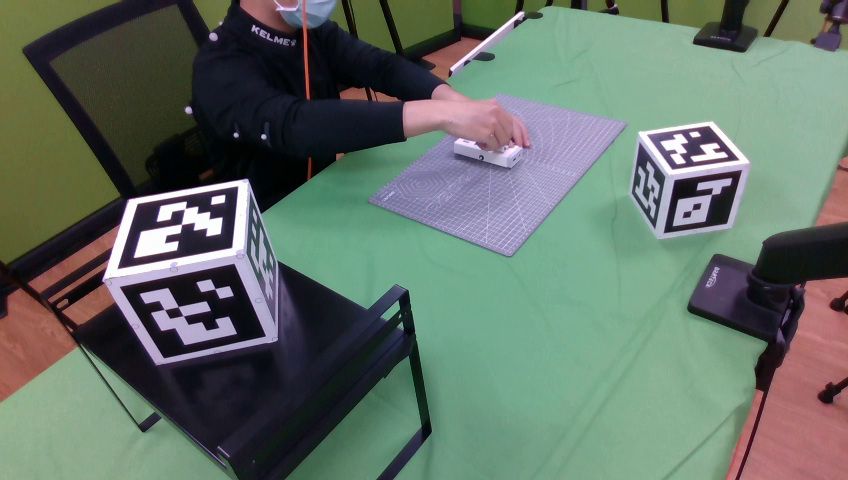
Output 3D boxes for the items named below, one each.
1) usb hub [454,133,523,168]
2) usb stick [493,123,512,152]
[{"bbox_3d":[0.122,-0.170,1.143,0.124,0.025,0.049,21,43,28],"label":"usb hub"},{"bbox_3d":[0.145,-0.182,1.105,0.021,0.059,0.027,12,41,33],"label":"usb stick"}]
